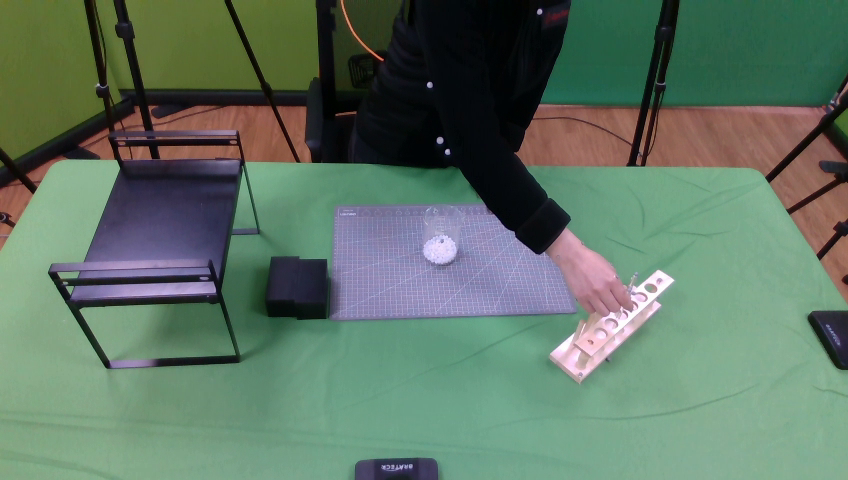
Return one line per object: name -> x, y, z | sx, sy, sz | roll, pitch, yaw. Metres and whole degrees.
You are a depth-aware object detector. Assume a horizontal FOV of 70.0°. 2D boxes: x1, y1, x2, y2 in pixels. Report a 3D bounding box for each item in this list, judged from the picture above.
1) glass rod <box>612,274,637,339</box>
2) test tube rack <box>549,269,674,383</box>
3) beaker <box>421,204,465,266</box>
glass rod -> 0.322, 0.111, 0.978 | 0.008, 0.201, 0.008 | -3, 53, 4
test tube rack -> 0.326, 0.135, 1.047 | 0.242, 0.085, 0.066 | -32, 55, -30
beaker -> 0.034, -0.007, 1.150 | 0.084, 0.101, 0.073 | -10, 48, -13
